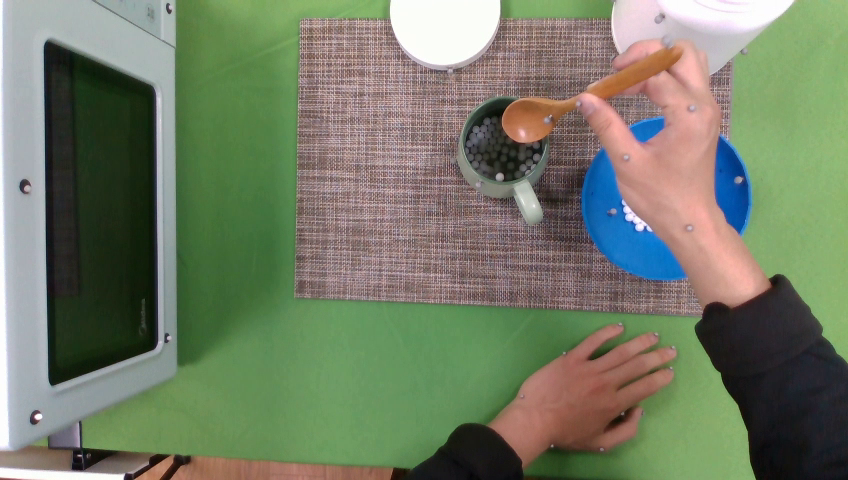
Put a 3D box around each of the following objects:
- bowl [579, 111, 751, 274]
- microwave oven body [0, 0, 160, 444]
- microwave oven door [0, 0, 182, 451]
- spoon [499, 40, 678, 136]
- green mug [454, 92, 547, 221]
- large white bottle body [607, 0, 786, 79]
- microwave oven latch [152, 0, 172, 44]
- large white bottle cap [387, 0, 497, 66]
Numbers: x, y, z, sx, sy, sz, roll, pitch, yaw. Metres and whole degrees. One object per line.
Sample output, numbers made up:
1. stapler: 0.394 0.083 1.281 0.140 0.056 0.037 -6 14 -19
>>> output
1. bowl: 0.222 -0.044 0.588 0.151 0.077 0.151 0 92 6
2. microwave oven body: -0.440 -0.069 0.558 0.326 0.260 0.441 0 93 5
3. microwave oven door: -0.295 -0.026 0.542 0.039 0.244 0.356 0 92 6
4. spoon: 0.113 -0.108 0.451 0.042 0.193 0.021 46 74 -15
5. green mug: 0.081 -0.077 0.587 0.092 0.105 0.125 -25 90 5
6. large white bottle body: 0.241 -0.229 0.526 0.130 0.185 0.130 0 88 5
7. microwave oven latch: -0.282 -0.248 0.633 0.030 0.029 0.079 1 93 5
8. large white bottle cap: 0.019 -0.240 0.629 0.115 0.018 0.115 0 91 5
